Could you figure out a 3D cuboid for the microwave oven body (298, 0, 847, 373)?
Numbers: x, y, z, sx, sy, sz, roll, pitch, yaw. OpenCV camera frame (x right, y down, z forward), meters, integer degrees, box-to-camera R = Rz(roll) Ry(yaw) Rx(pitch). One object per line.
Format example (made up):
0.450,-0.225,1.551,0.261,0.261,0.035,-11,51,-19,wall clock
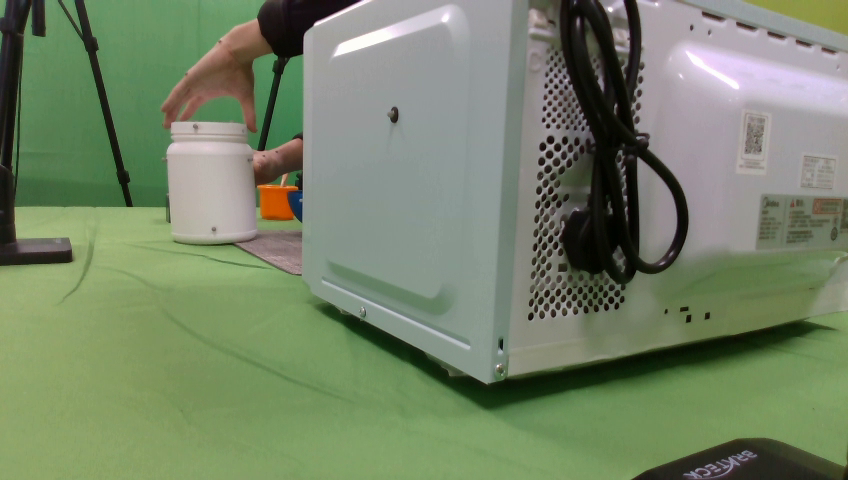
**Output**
0.151,-0.055,0.542,0.444,0.260,0.324,-2,7,-33,microwave oven body

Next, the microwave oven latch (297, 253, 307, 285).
-0.082,0.027,0.582,0.079,0.029,0.030,-1,7,-32,microwave oven latch

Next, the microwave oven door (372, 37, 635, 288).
0.109,-0.080,0.686,0.358,0.243,0.039,-2,9,-33,microwave oven door

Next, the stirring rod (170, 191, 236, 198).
-0.465,-0.098,1.283,0.014,0.006,0.177,42,21,17,stirring rod

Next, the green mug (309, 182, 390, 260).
-0.102,-0.029,0.864,0.126,0.105,0.092,-3,8,-40,green mug

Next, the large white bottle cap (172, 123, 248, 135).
-0.340,-0.176,0.964,0.115,0.018,0.115,1,9,0,large white bottle cap

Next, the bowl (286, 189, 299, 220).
-0.179,-0.051,1.114,0.151,0.077,0.151,2,8,0,bowl

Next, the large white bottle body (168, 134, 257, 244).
-0.341,-0.092,0.977,0.131,0.184,0.130,0,8,0,large white bottle body

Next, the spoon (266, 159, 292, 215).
-0.334,-0.128,1.424,0.041,0.193,0.021,2,-38,5,spoon
